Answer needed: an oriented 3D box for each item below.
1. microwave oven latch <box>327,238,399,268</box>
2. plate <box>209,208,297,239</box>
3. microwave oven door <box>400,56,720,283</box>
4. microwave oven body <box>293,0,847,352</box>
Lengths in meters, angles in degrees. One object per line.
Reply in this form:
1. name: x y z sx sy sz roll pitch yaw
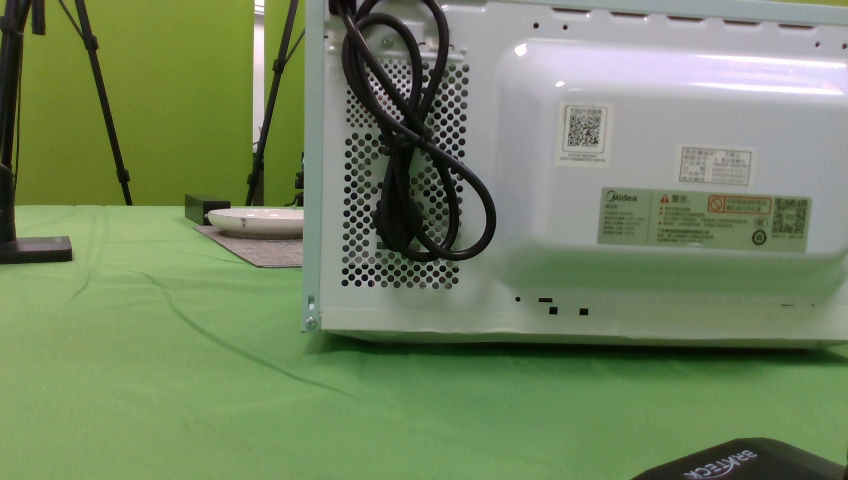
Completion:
1. microwave oven latch: -0.069 0.015 0.694 0.079 0.029 0.030 3 7 -3
2. plate: -0.271 -0.029 1.074 0.208 0.039 0.207 3 7 0
3. microwave oven door: 0.155 -0.077 0.698 0.356 0.243 0.039 2 8 -5
4. microwave oven body: 0.122 -0.055 0.550 0.442 0.260 0.325 3 7 -5
